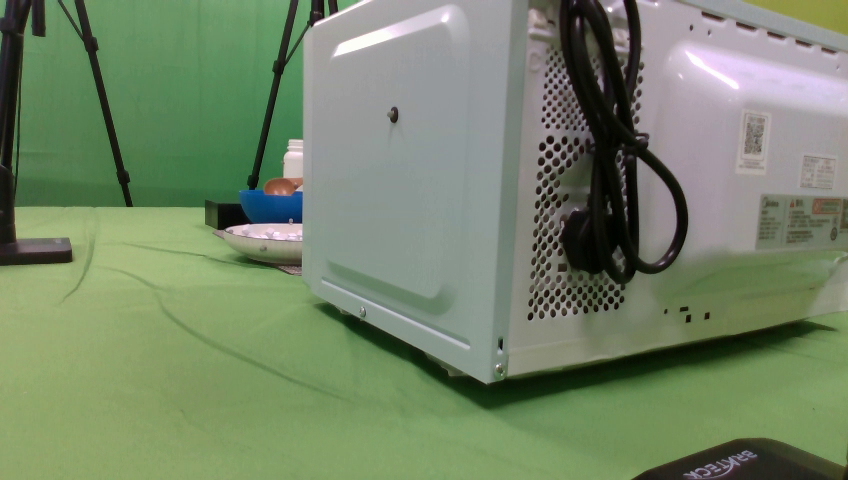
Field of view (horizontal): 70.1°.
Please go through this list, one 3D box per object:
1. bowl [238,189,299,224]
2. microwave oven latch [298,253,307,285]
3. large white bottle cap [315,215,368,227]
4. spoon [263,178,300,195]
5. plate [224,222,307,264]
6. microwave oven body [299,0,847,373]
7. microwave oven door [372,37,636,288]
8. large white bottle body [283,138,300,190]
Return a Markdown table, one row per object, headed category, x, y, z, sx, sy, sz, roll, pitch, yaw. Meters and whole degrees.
| category | x | y | z | sx | sy | sz | roll | pitch | yaw |
| --- | --- | --- | --- | --- | --- | --- | --- | --- | --- |
| bowl | -0.245 | -0.045 | 1.053 | 0.151 | 0.077 | 0.151 | 3 | 7 | 0 |
| microwave oven latch | -0.081 | 0.027 | 0.583 | 0.079 | 0.029 | 0.030 | -2 | 7 | -33 |
| large white bottle cap | -0.178 | -0.041 | 1.309 | 0.115 | 0.018 | 0.115 | 2 | 6 | 0 |
| spoon | -0.195 | -0.113 | 1.073 | 0.194 | 0.021 | 0.041 | -28 | 63 | -27 |
| plate | -0.171 | 0.004 | 0.849 | 0.209 | 0.038 | 0.209 | 2 | 7 | 0 |
| microwave oven body | 0.151 | -0.055 | 0.542 | 0.444 | 0.260 | 0.324 | -2 | 7 | -33 |
| microwave oven door | 0.110 | -0.080 | 0.686 | 0.358 | 0.243 | 0.039 | -2 | 9 | -33 |
| large white bottle body | -0.265 | -0.144 | 1.424 | 0.131 | 0.184 | 0.130 | 2 | 7 | 0 |
